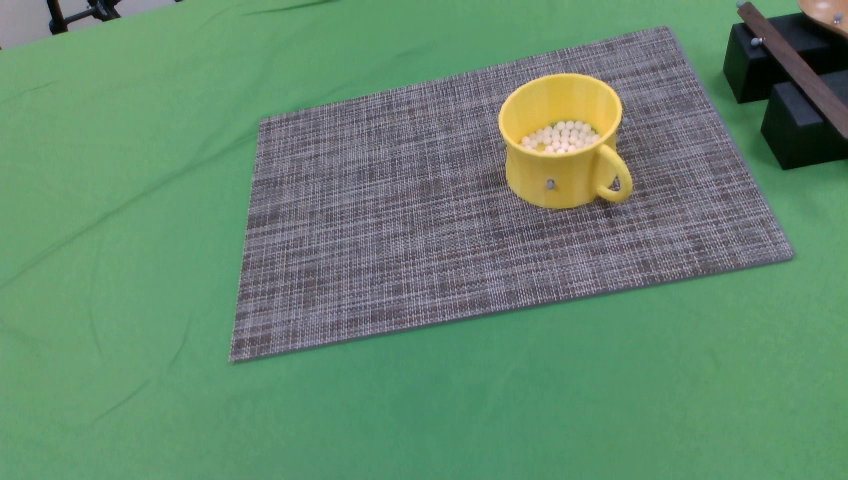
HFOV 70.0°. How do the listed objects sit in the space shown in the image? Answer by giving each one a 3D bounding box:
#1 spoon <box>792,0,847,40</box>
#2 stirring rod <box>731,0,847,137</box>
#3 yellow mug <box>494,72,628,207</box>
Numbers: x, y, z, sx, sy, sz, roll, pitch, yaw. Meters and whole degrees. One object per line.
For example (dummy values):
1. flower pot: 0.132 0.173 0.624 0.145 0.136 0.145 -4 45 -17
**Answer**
1. spoon: 0.347 -0.151 0.481 0.041 0.022 0.191 -10 55 5
2. stirring rod: 0.296 -0.146 0.493 0.014 0.006 0.174 -41 44 32
3. yellow mug: 0.123 -0.079 0.515 0.100 0.064 0.129 -36 55 -12
